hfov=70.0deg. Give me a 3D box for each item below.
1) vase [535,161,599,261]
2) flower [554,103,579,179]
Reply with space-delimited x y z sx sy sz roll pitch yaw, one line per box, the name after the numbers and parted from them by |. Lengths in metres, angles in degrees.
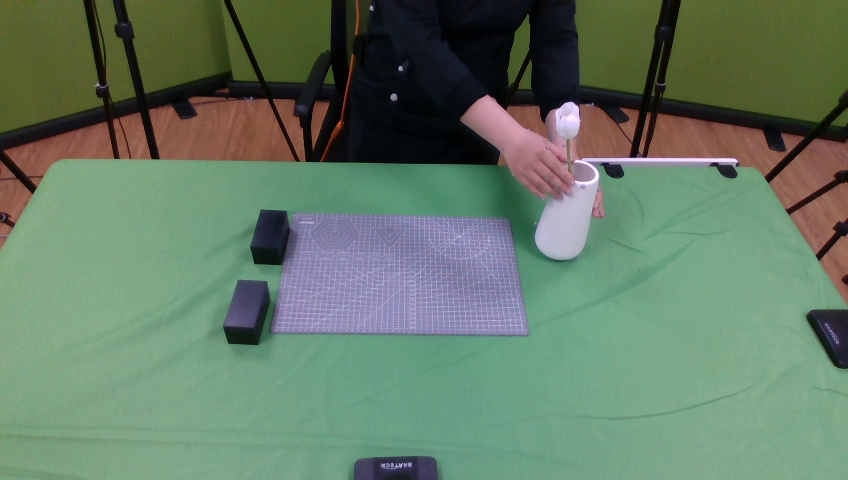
0.271 -0.052 1.145 0.098 0.201 0.097 1 46 -1 | vase
0.260 -0.103 1.080 0.038 0.364 0.044 3 58 18 | flower
